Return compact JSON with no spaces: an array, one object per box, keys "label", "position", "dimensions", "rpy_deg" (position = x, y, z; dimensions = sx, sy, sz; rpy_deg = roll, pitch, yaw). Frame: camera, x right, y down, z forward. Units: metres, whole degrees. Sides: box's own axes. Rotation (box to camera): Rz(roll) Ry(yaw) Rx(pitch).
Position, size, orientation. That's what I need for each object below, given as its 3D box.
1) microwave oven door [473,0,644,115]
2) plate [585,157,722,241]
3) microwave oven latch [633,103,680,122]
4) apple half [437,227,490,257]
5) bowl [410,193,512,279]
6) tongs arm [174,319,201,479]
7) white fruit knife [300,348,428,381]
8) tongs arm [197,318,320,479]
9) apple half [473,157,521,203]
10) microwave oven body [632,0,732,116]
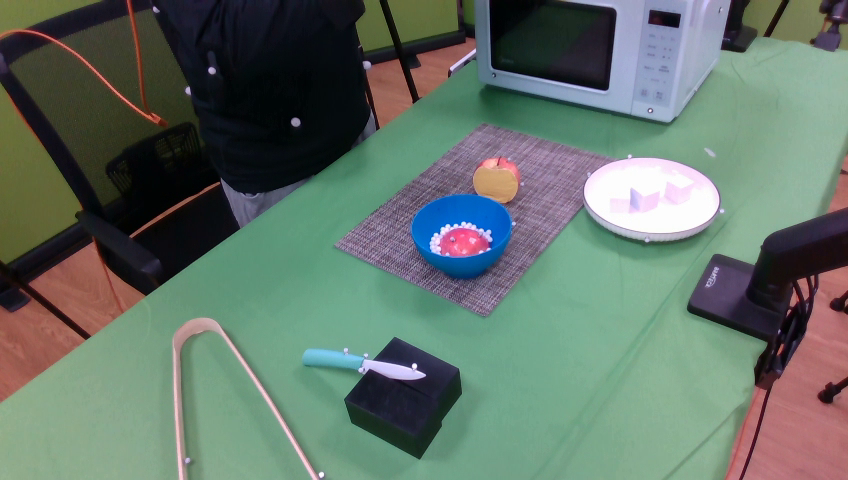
[{"label":"microwave oven door","position":[0.257,-0.396,1.199],"dimensions":[0.353,0.245,0.039],"rpy_deg":[21,48,29]},{"label":"plate","position":[0.367,-0.063,0.979],"dimensions":[0.207,0.039,0.206],"rpy_deg":[-4,40,4]},{"label":"microwave oven latch","position":[0.443,-0.249,1.157],"dimensions":[0.078,0.029,0.030],"rpy_deg":[21,48,30]},{"label":"apple half","position":[0.056,0.002,0.902],"dimensions":[0.081,0.033,0.081],"rpy_deg":[-3,42,3]},{"label":"bowl","position":[0.058,0.005,0.905],"dimensions":[0.151,0.077,0.150],"rpy_deg":[-4,40,4]},{"label":"tongs arm","position":[-0.272,0.234,0.723],"dimensions":[0.051,0.026,0.381],"rpy_deg":[-19,40,-15]},{"label":"white fruit knife","position":[-0.080,0.154,0.748],"dimensions":[0.206,0.027,0.016],"rpy_deg":[1,20,34]},{"label":"tongs arm","position":[-0.200,0.207,0.751],"dimensions":[0.028,0.028,0.384],"rpy_deg":[-31,45,-22]},{"label":"apple half","position":[0.128,-0.107,1.030],"dimensions":[0.080,0.075,0.053],"rpy_deg":[4,38,19]},{"label":"microwave oven body","position":[0.377,-0.463,1.267],"dimensions":[0.438,0.261,0.327],"rpy_deg":[21,48,30]}]
